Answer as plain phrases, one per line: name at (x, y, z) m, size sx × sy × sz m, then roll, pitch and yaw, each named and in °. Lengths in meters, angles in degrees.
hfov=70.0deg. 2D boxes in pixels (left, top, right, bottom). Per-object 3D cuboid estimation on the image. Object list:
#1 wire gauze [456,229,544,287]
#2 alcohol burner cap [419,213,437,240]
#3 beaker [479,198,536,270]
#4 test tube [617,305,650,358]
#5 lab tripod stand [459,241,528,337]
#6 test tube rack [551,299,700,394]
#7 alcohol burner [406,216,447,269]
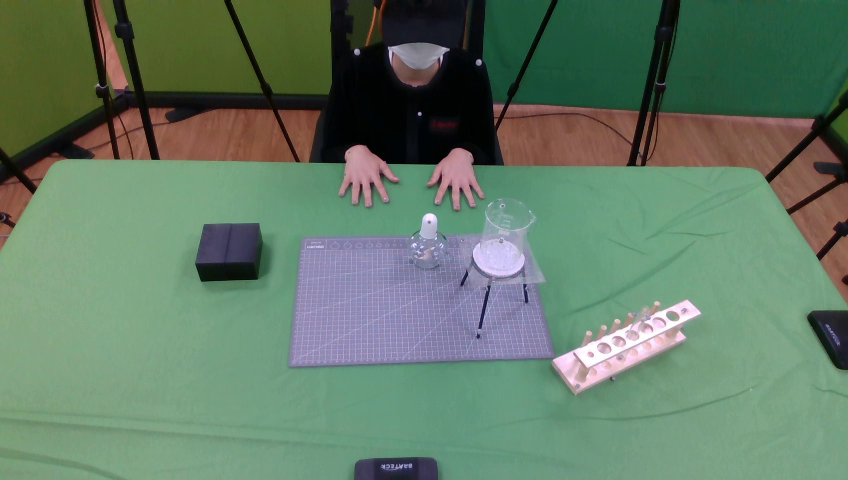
wire gauze at (0.125, 0.030, 1.008) m, size 0.125 × 0.011 × 0.120 m, roll -3°, pitch 48°, yaw -11°
alcohol burner cap at (0.009, -0.027, 1.109) m, size 0.034 × 0.048 × 0.033 m, roll 3°, pitch 44°, yaw -3°
beaker at (0.131, -0.007, 0.975) m, size 0.084 × 0.101 × 0.073 m, roll 3°, pitch 46°, yaw -4°
test tube at (0.333, 0.149, 0.967) m, size 0.017 × 0.151 × 0.017 m, roll 0°, pitch 52°, yaw 1°
lab tripod stand at (0.122, 0.075, 1.054) m, size 0.148 × 0.132 × 0.147 m, roll 3°, pitch 44°, yaw -3°
test tube rack at (0.339, 0.166, 1.021) m, size 0.242 × 0.085 × 0.066 m, roll -19°, pitch 50°, yaw -21°
alcohol burner at (0.006, -0.002, 1.135) m, size 0.078 × 0.120 × 0.077 m, roll 2°, pitch 48°, yaw -2°
